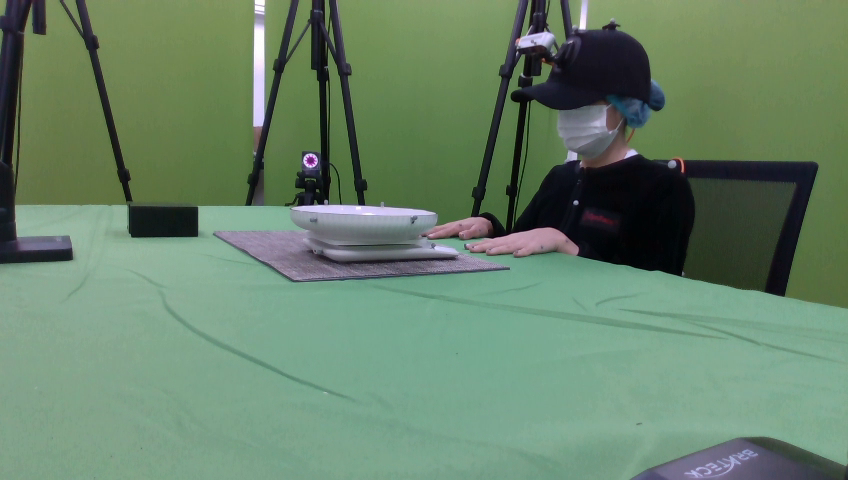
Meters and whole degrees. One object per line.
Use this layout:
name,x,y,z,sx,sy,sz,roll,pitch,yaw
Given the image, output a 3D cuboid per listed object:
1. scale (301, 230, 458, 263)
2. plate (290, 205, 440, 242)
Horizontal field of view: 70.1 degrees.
scale,-0.065,0.007,0.878,0.202,0.031,0.148,0,8,-29
plate,-0.082,-0.023,0.852,0.208,0.039,0.207,3,6,0
